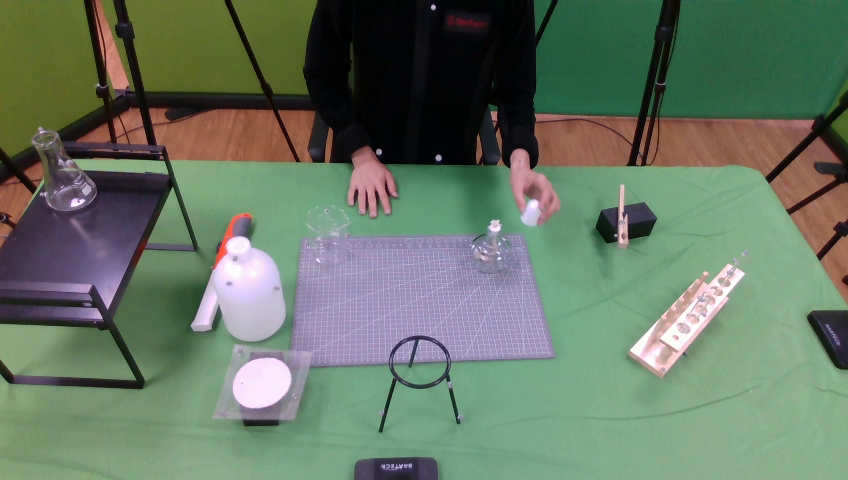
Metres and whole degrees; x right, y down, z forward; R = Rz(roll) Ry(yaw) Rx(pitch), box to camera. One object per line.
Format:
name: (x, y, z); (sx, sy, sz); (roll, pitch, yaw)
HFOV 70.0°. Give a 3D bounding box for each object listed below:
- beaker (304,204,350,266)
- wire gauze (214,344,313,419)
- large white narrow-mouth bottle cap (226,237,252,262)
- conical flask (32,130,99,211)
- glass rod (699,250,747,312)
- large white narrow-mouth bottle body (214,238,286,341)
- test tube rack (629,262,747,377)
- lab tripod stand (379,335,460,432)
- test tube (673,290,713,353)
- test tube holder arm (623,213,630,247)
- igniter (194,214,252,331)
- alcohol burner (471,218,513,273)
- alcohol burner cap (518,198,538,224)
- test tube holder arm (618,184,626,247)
beaker: (-0.178, -0.006, 1.132); (0.084, 0.101, 0.073); (4, 46, -1)
wire gauze: (-0.241, 0.213, 0.915); (0.121, 0.011, 0.124); (5, 46, 1)
large white narrow-mouth bottle cap: (-0.282, 0.014, 0.923); (0.038, 0.024, 0.037); (2, 46, -2)
conical flask: (-0.565, -0.110, 0.944); (0.075, 0.122, 0.075); (2, 46, -2)
glass rod: (0.500, 0.075, 1.021); (0.008, 0.201, 0.008); (0, 55, 1)
large white narrow-mouth bottle body: (-0.285, 0.073, 0.986); (0.102, 0.195, 0.101); (2, 46, -2)
test tube rack: (0.464, 0.126, 1.061); (0.242, 0.085, 0.066); (-34, 56, -30)
lab tripod stand: (-0.011, 0.214, 0.912); (0.148, 0.132, 0.147); (1, 45, 0)
test tube: (0.429, 0.135, 0.981); (0.017, 0.151, 0.017); (4, 44, -4)
test tube holder arm: (0.393, -0.020, 1.180); (0.010, 0.015, 0.087); (14, 46, 0)
igniter: (-0.367, 0.050, 1.119); (0.057, 0.025, 0.275); (-4, 46, 7)
alcohol burner: (0.128, 0.005, 1.132); (0.078, 0.120, 0.077); (0, 47, 0)
alcohol burner cap: (0.192, -0.056, 1.107); (0.034, 0.048, 0.033); (3, 48, -3)
test tube holder arm: (0.395, -0.053, 1.211); (0.013, 0.015, 0.177); (15, 46, 0)
